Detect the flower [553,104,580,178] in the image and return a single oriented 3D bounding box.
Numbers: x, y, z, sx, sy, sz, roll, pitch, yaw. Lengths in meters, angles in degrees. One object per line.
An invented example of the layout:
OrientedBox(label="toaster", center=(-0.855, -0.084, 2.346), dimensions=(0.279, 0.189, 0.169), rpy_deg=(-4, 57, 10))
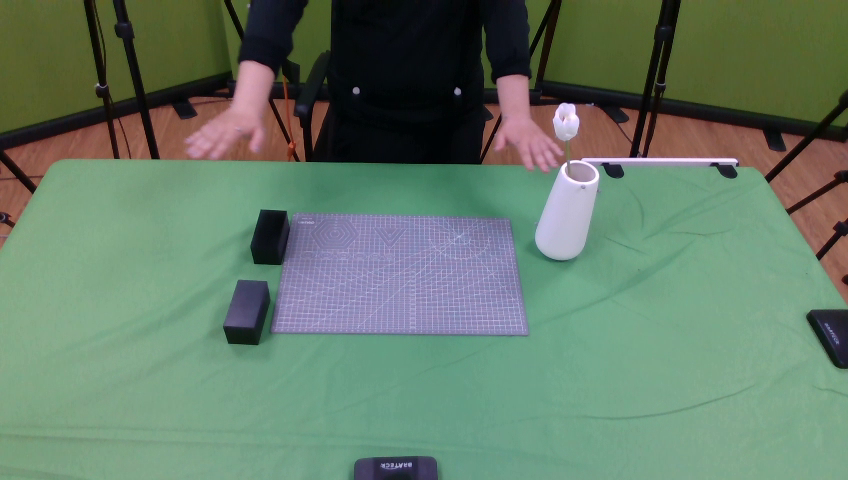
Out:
OrientedBox(label="flower", center=(0.258, -0.102, 1.080), dimensions=(0.038, 0.364, 0.043), rpy_deg=(-24, 55, -1))

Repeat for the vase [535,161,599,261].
OrientedBox(label="vase", center=(0.271, -0.051, 1.145), dimensions=(0.098, 0.201, 0.097), rpy_deg=(1, 46, -1))
